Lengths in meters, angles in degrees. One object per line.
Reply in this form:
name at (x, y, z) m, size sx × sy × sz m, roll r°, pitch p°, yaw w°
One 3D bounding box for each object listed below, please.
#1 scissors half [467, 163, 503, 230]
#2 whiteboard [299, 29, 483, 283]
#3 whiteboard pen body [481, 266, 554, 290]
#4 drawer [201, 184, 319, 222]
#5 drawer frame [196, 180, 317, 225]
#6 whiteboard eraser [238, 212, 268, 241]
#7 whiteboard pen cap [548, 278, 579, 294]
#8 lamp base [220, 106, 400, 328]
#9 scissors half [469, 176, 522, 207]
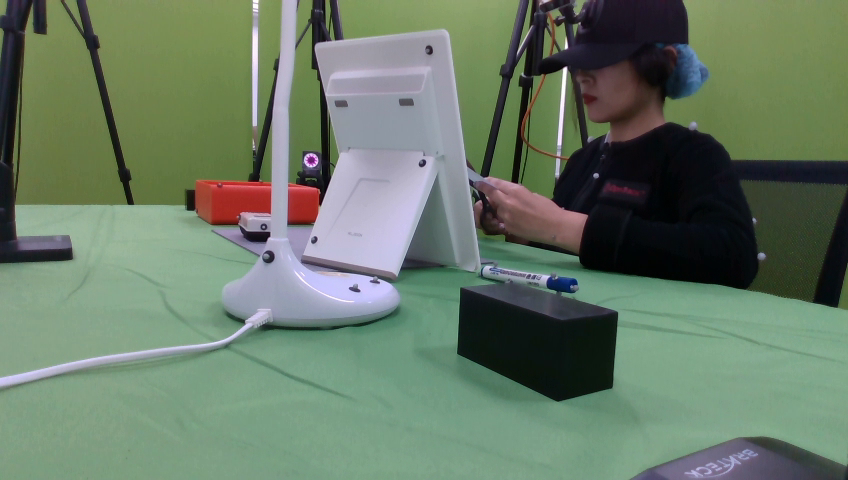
scissors half at (0.105, -0.082, 1.125) m, size 0.040 × 0.176 × 0.013 m, roll -38°, pitch 36°, yaw -12°
whiteboard at (-0.074, -0.082, 0.742) m, size 0.216 × 0.305 × 0.144 m, roll 9°, pitch 29°, yaw 38°
whiteboard pen body at (0.115, 0.045, 0.695) m, size 0.017 × 0.017 × 0.140 m, roll -3°, pitch 6°, yaw -35°
drawer at (-0.353, -0.082, 1.295) m, size 0.213 × 0.073 × 0.193 m, roll -2°, pitch 9°, yaw -28°
drawer frame at (-0.359, -0.083, 1.292) m, size 0.215 × 0.082 × 0.200 m, roll -2°, pitch 10°, yaw -30°
whiteboard eraser at (-0.272, -0.023, 0.998) m, size 0.056 × 0.042 × 0.112 m, roll -2°, pitch 9°, yaw -24°
whiteboard pen cap at (0.148, 0.049, 0.647) m, size 0.018 × 0.018 × 0.033 m, roll -3°, pitch 3°, yaw -35°
lamp base at (-0.101, -0.023, 0.531) m, size 0.160 × 0.180 × 0.179 m, roll 4°, pitch 10°, yaw 10°
scissors half at (0.120, -0.101, 1.124) m, size 0.176 × 0.040 × 0.012 m, roll 17°, pitch 16°, yaw -34°
